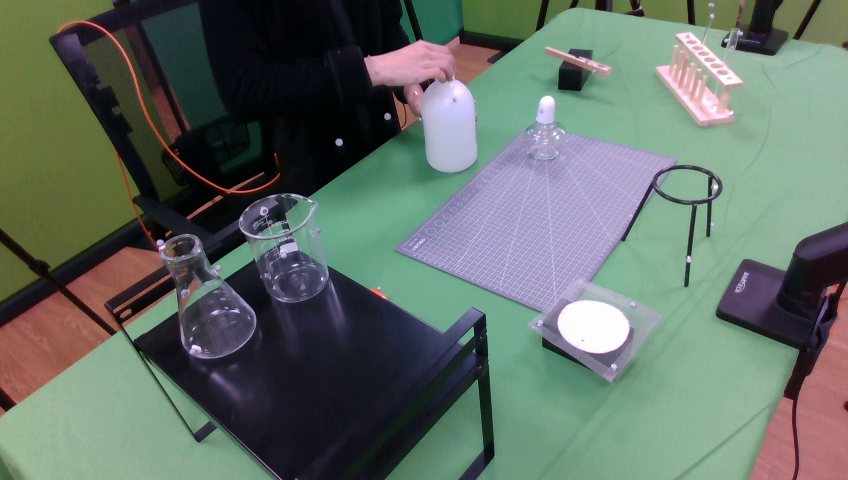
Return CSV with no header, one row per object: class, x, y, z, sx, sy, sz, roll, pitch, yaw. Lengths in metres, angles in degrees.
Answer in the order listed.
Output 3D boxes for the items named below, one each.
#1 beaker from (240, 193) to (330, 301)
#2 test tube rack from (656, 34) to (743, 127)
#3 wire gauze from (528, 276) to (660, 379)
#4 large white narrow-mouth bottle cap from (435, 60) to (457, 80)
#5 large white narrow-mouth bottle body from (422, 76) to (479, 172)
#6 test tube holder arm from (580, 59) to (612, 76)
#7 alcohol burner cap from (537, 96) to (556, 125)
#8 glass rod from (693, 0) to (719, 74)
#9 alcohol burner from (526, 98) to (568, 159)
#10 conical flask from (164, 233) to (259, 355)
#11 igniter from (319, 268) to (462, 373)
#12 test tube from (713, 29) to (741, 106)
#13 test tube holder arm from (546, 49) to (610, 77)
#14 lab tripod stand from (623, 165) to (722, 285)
beaker,-0.144,0.009,0.656,0.084,0.101,0.073,-25,43,-19
test tube rack,0.553,-0.330,1.233,0.067,0.085,0.241,-7,40,2
wire gauze,0.213,0.103,0.763,0.124,0.011,0.122,30,52,35
large white narrow-mouth bottle cap,0.039,-0.296,1.051,0.038,0.024,0.037,-4,40,4
large white narrow-mouth bottle body,0.048,-0.229,1.111,0.102,0.195,0.101,-4,41,4
test tube holder arm,0.363,-0.369,1.288,0.010,0.015,0.087,-28,43,-28
alcohol burner cap,0.223,-0.237,1.095,0.034,0.048,0.033,-1,42,1
glass rod,0.560,-0.401,1.214,0.008,0.200,0.008,-1,48,2
alcohol burner,0.228,-0.210,1.118,0.078,0.119,0.077,-5,43,5
conical flask,-0.216,0.051,0.601,0.075,0.122,0.075,-4,40,4
igniter,-0.059,0.107,0.862,0.274,0.025,0.057,28,62,34
test tube,0.572,-0.324,1.146,0.017,0.151,0.017,-3,40,3
test tube holder arm,0.332,-0.387,1.315,0.013,0.015,0.177,-26,43,-27
lab tripod stand,0.365,-0.030,0.874,0.148,0.132,0.147,-6,41,6
